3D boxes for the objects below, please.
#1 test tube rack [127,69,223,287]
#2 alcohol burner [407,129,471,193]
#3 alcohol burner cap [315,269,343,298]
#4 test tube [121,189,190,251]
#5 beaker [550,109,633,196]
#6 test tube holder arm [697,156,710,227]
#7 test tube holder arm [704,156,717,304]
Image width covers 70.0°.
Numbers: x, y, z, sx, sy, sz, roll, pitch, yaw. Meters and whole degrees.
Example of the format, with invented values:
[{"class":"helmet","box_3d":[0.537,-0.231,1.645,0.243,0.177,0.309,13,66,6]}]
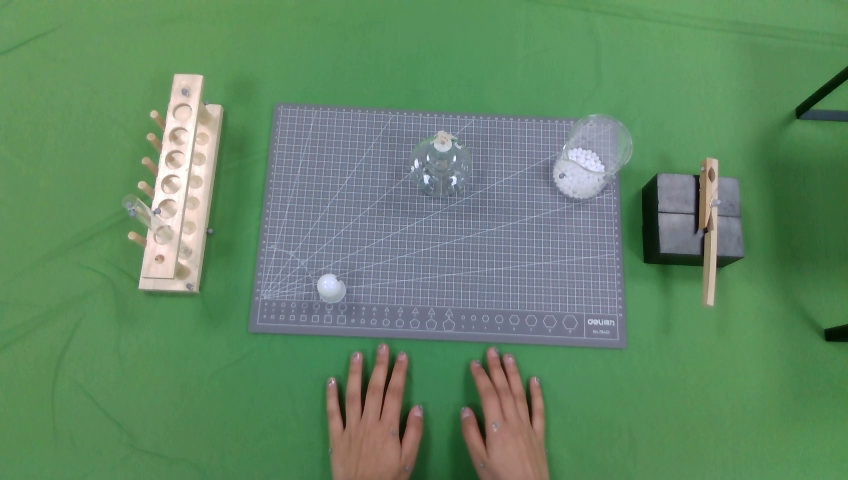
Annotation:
[{"class":"test tube rack","box_3d":[-0.297,-0.072,0.714,0.067,0.085,0.241,3,75,-1]},{"class":"alcohol burner","box_3d":[0.019,-0.101,0.717,0.078,0.119,0.077,0,75,0]},{"class":"alcohol burner cap","box_3d":[-0.113,0.049,0.710,0.034,0.048,0.033,1,75,-3]},{"class":"test tube","box_3d":[-0.283,-0.018,0.649,0.017,0.151,0.017,0,71,-1]},{"class":"beaker","box_3d":[0.195,-0.100,0.732,0.084,0.101,0.073,-19,76,-6]},{"class":"test tube holder arm","box_3d":[0.333,-0.058,0.723,0.010,0.015,0.087,5,77,1]},{"class":"test tube holder arm","box_3d":[0.336,-0.014,0.712,0.013,0.015,0.177,3,77,0]}]
